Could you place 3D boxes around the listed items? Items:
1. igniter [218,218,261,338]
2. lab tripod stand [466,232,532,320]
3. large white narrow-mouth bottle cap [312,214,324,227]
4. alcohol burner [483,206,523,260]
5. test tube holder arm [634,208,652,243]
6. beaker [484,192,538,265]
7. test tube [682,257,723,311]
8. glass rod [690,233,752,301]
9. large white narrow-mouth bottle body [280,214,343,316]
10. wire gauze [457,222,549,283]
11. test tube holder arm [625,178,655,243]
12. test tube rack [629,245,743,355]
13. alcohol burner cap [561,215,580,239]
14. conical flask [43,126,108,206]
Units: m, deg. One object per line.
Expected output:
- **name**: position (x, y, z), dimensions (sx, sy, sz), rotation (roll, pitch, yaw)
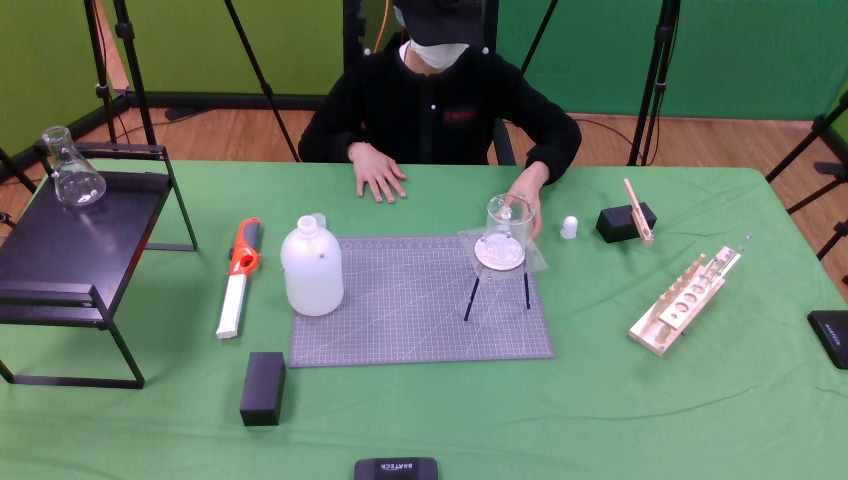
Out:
- **igniter**: position (-0.336, 0.060, 1.111), dimensions (0.057, 0.025, 0.274), rotation (-7, 46, 4)
- **lab tripod stand**: position (0.125, 0.059, 1.065), dimensions (0.148, 0.132, 0.147), rotation (1, 45, 0)
- **large white narrow-mouth bottle cap**: position (-0.219, -0.033, 1.214), dimensions (0.038, 0.024, 0.037), rotation (2, 46, -2)
- **alcohol burner**: position (0.152, -0.019, 1.156), dimensions (0.078, 0.120, 0.077), rotation (0, 47, 0)
- **test tube holder arm**: position (0.428, -0.030, 1.189), dimensions (0.010, 0.015, 0.087), rotation (2, 47, -3)
- **beaker**: position (0.137, -0.016, 0.980), dimensions (0.084, 0.101, 0.073), rotation (-6, 45, -9)
- **test tube**: position (0.475, 0.080, 1.037), dimensions (0.017, 0.151, 0.017), rotation (1, 50, -1)
- **glass rod**: position (0.507, 0.053, 1.041), dimensions (0.008, 0.200, 0.008), rotation (5, 50, -6)
- **large white narrow-mouth bottle body**: position (-0.190, 0.035, 1.025), dimensions (0.102, 0.195, 0.101), rotation (2, 46, -2)
- **wire gauze**: position (0.131, 0.016, 1.017), dimensions (0.121, 0.011, 0.124), rotation (-10, 44, -16)
- **test tube holder arm**: position (0.433, -0.062, 1.220), dimensions (0.013, 0.015, 0.177), rotation (1, 47, -3)
- **test tube rack**: position (0.474, 0.095, 1.091), dimensions (0.242, 0.085, 0.066), rotation (-34, 56, -31)
- **alcohol burner cap**: position (0.299, -0.030, 1.230), dimensions (0.034, 0.048, 0.033), rotation (1, 46, -1)
- **conical flask**: position (-0.555, -0.119, 0.953), dimensions (0.075, 0.122, 0.075), rotation (2, 46, -2)
